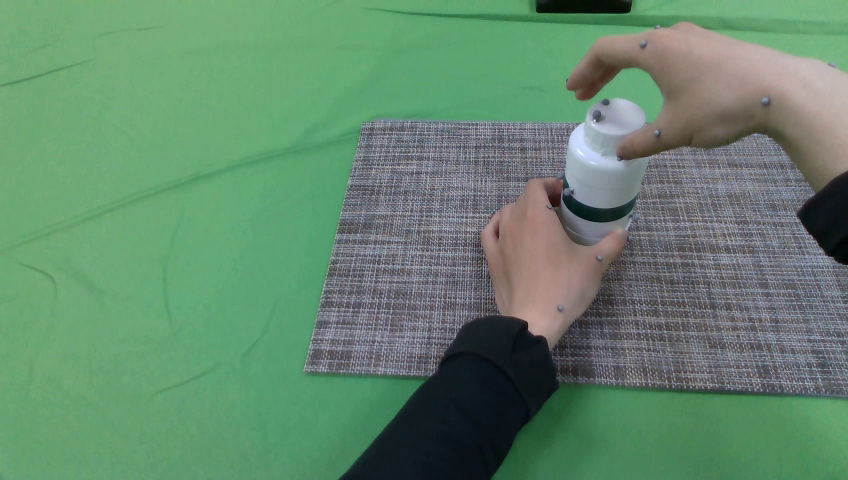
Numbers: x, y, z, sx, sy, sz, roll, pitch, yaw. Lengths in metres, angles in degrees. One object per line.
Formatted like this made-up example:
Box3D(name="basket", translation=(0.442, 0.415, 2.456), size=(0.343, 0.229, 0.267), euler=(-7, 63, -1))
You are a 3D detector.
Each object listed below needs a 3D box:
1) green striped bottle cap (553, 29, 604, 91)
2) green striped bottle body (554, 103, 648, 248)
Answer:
Box3D(name="green striped bottle cap", translation=(0.117, -0.137, 0.462), size=(0.020, 0.044, 0.044), euler=(33, 57, 4))
Box3D(name="green striped bottle body", translation=(0.144, -0.054, 0.499), size=(0.063, 0.120, 0.062), euler=(-2, 50, 3))
